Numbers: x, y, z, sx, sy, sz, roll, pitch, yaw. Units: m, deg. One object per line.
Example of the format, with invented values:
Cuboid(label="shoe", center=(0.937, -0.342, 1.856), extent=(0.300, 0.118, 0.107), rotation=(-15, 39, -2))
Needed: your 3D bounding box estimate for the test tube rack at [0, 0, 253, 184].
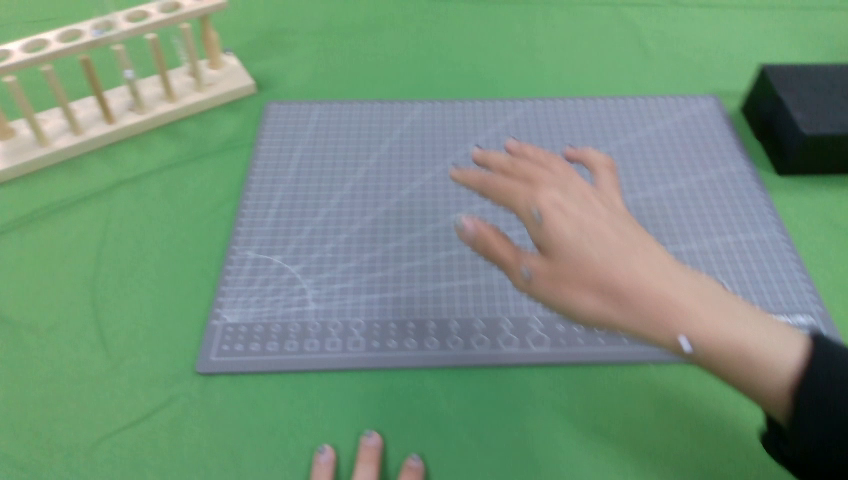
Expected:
Cuboid(label="test tube rack", center=(-0.292, -0.145, 0.556), extent=(0.242, 0.086, 0.066), rotation=(-27, 55, -20))

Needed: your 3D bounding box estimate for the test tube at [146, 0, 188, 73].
Cuboid(label="test tube", center=(-0.244, -0.217, 0.552), extent=(0.017, 0.152, 0.017), rotation=(-3, 51, 4))

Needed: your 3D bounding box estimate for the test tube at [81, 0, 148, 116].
Cuboid(label="test tube", center=(-0.269, -0.169, 0.519), extent=(0.017, 0.152, 0.017), rotation=(1, 50, 0))
